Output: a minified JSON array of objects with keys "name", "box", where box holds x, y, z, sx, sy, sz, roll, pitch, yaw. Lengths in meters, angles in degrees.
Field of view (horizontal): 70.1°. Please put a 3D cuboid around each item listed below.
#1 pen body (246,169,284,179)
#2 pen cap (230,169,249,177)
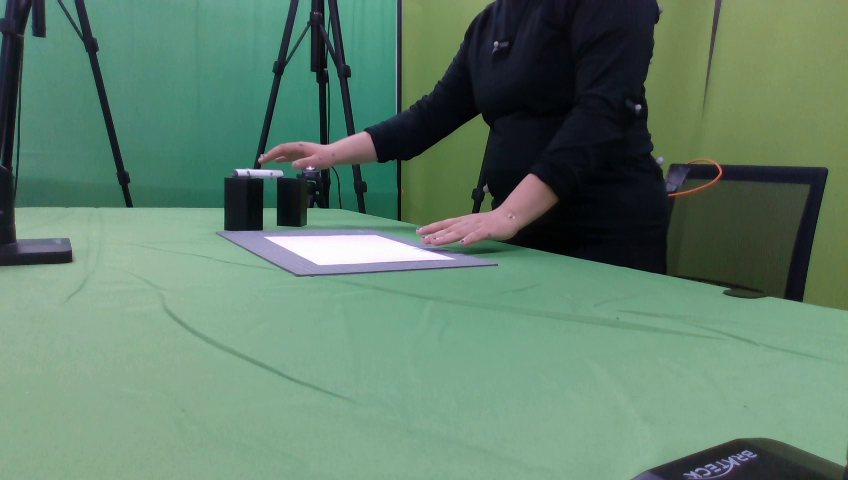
[{"name":"pen body","box":[-0.324,-0.130,1.197,0.017,0.017,0.144,5,5,20]},{"name":"pen cap","box":[-0.347,-0.125,1.138,0.017,0.017,0.038,6,8,21]}]
